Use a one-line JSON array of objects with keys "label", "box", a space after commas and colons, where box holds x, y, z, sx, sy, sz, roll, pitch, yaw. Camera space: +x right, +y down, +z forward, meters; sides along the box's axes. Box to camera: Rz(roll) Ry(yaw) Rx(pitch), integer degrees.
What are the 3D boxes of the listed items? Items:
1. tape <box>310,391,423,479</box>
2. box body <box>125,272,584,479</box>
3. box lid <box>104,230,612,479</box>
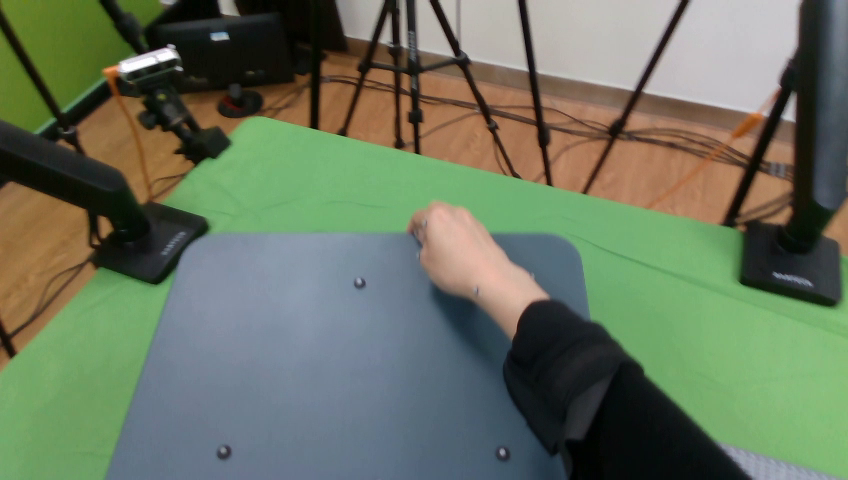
[{"label": "tape", "box": [-0.058, 0.216, 0.619, 0.117, 0.053, 0.115, -1, 48, 1]}, {"label": "box body", "box": [-0.051, 0.179, 0.585, 0.364, 0.162, 0.251, -1, 49, 2]}, {"label": "box lid", "box": [-0.044, 0.098, 0.493, 0.371, 0.015, 0.260, 0, 54, 2]}]
